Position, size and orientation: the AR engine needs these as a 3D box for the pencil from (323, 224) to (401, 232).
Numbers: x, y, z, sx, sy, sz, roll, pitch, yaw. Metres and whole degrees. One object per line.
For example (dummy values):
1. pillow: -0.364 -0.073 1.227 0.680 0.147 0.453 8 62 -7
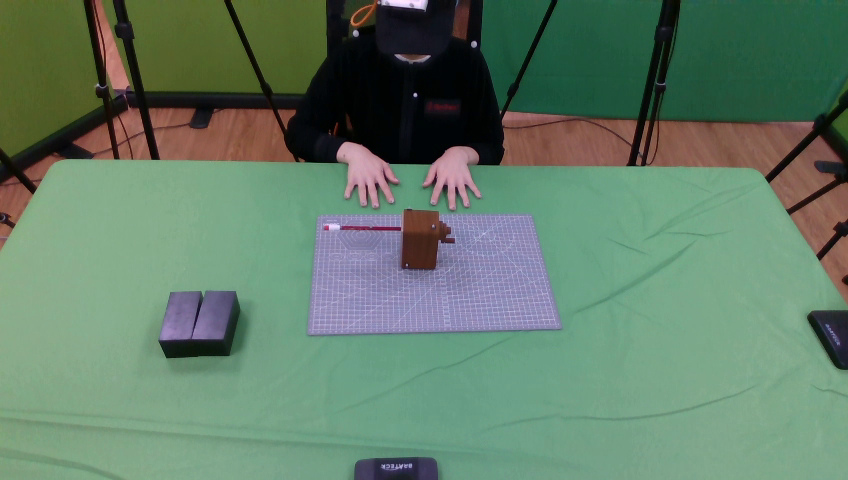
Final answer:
1. pencil: -0.088 -0.020 1.113 0.194 0.012 0.012 2 46 -2

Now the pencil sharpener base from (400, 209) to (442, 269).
1. pencil sharpener base: -0.006 0.000 1.134 0.077 0.107 0.061 2 46 -2

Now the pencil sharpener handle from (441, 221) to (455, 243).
1. pencil sharpener handle: 0.046 -0.011 1.131 0.030 0.068 0.036 2 65 -2
